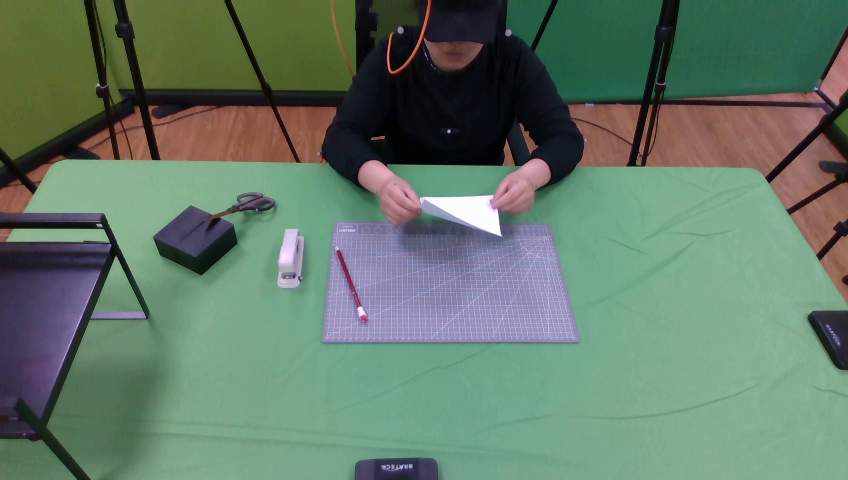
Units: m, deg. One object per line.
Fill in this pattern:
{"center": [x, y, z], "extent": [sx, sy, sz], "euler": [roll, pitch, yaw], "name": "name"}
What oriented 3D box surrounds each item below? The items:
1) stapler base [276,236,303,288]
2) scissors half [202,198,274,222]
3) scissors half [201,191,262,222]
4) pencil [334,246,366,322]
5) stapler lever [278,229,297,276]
{"center": [-0.254, 0.034, 1.144], "extent": [0.041, 0.024, 0.129], "euler": [1, 44, -7], "name": "stapler base"}
{"center": [-0.364, -0.056, 1.192], "extent": [0.040, 0.013, 0.175], "euler": [37, 32, 23], "name": "scissors half"}
{"center": [-0.381, -0.066, 1.198], "extent": [0.040, 0.013, 0.175], "euler": [23, 28, 10], "name": "scissors half"}
{"center": [-0.140, 0.077, 1.117], "extent": [0.012, 0.012, 0.192], "euler": [-14, 48, -17], "name": "pencil"}
{"center": [-0.253, 0.016, 1.128], "extent": [0.027, 0.040, 0.117], "euler": [1, 45, -7], "name": "stapler lever"}
